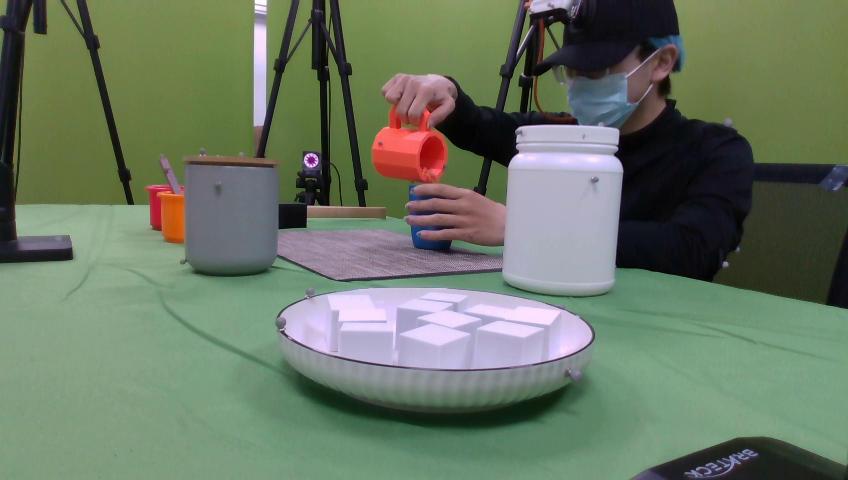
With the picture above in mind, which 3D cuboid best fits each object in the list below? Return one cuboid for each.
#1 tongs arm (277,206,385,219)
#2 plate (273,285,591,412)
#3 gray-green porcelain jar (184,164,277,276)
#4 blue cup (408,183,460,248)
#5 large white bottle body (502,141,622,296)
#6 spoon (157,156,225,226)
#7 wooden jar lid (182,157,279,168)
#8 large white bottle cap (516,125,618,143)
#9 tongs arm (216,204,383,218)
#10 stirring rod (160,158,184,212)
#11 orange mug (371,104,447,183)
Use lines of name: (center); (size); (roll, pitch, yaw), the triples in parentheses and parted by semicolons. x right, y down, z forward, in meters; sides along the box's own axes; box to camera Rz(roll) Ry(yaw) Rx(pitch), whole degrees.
tongs arm: (-0.252, -0.062, 1.361); (0.387, 0.026, 0.050); (-1, 3, -32)
plate: (0.005, 0.069, 0.408); (0.208, 0.039, 0.207); (2, 7, 0)
gray-green porcelain jar: (-0.230, -0.025, 0.722); (0.106, 0.126, 0.106); (3, 7, 0)
blue cup: (0.014, -0.040, 0.972); (0.093, 0.100, 0.092); (2, 5, 0)
large white bottle body: (0.161, -0.037, 0.706); (0.131, 0.184, 0.130); (2, 7, 0)
spoon: (-0.425, -0.094, 1.117); (0.041, 0.022, 0.194); (4, 51, 29)
wooden jar lid: (-0.227, -0.086, 0.714); (0.108, 0.020, 0.108); (1, 6, 0)
large white bottle cap: (0.163, -0.120, 0.695); (0.115, 0.018, 0.115); (2, 8, 0)
tongs arm: (-0.289, -0.069, 1.435); (0.389, 0.027, 0.028); (1, -1, -18)
stirring rod: (-0.391, -0.070, 0.972); (0.014, 0.006, 0.175); (-2, 50, -48)
orange mug: (-0.024, -0.160, 0.999); (0.100, 0.126, 0.084); (18, 26, 33)
